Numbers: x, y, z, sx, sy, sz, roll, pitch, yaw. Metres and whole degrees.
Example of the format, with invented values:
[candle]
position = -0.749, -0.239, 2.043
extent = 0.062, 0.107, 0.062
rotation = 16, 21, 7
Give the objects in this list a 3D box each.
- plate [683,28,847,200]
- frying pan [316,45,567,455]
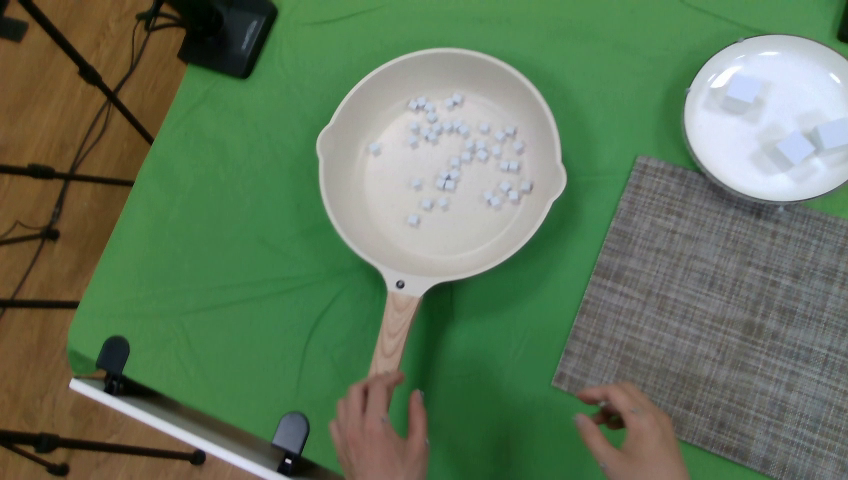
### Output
[plate]
position = 0.409, -0.144, 0.707
extent = 0.207, 0.039, 0.206
rotation = -2, 79, 10
[frying pan]
position = -0.008, 0.004, 0.715
extent = 0.306, 0.103, 0.485
rotation = 12, 73, 13
